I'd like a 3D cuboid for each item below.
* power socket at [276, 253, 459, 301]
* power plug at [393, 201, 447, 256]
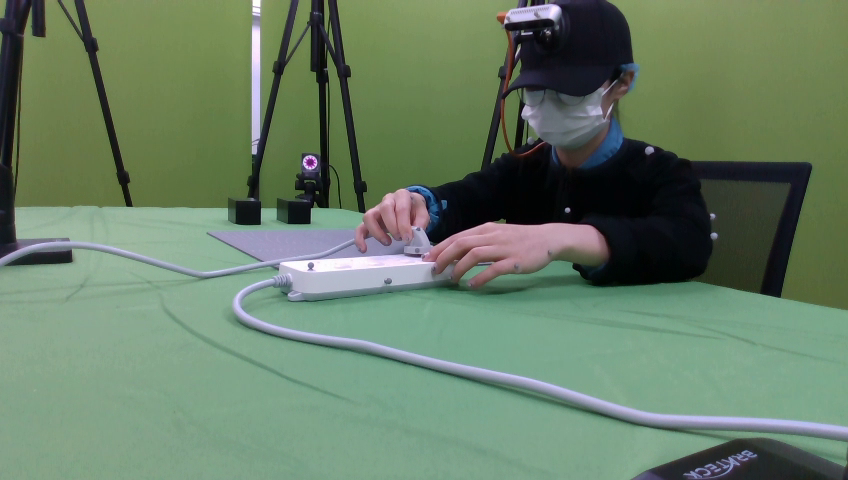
[{"bbox_3d":[-0.056,0.037,0.674,0.228,0.032,0.072,-3,8,-38],"label":"power socket"},{"bbox_3d":[-0.007,-0.016,0.723,0.053,0.072,0.035,17,-15,-23],"label":"power plug"}]
